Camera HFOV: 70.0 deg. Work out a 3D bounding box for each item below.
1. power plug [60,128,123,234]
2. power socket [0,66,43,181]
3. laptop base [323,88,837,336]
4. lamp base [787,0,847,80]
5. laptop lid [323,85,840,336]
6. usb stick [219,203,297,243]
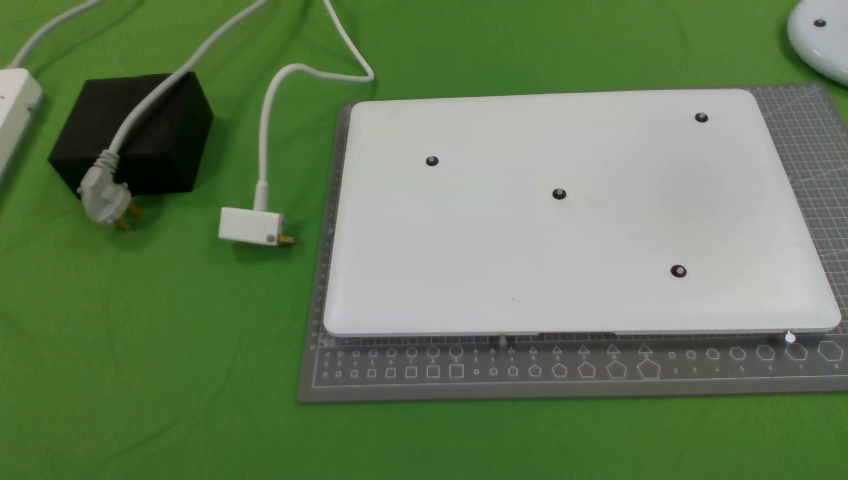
[{"bbox_3d":[-0.269,-0.042,0.471,0.035,0.073,0.052,-3,40,42],"label":"power plug"},{"bbox_3d":[-0.416,-0.080,0.548,0.072,0.033,0.224,-3,54,1],"label":"power socket"},{"bbox_3d":[0.107,-0.030,0.483,0.354,0.023,0.233,-1,58,3],"label":"laptop base"},{"bbox_3d":[0.434,-0.252,0.521,0.159,0.182,0.178,28,58,22],"label":"lamp base"},{"bbox_3d":[0.106,-0.035,0.472,0.356,0.013,0.239,0,57,4],"label":"laptop lid"},{"bbox_3d":[-0.129,-0.012,0.478,0.059,0.021,0.027,11,92,-2],"label":"usb stick"}]
